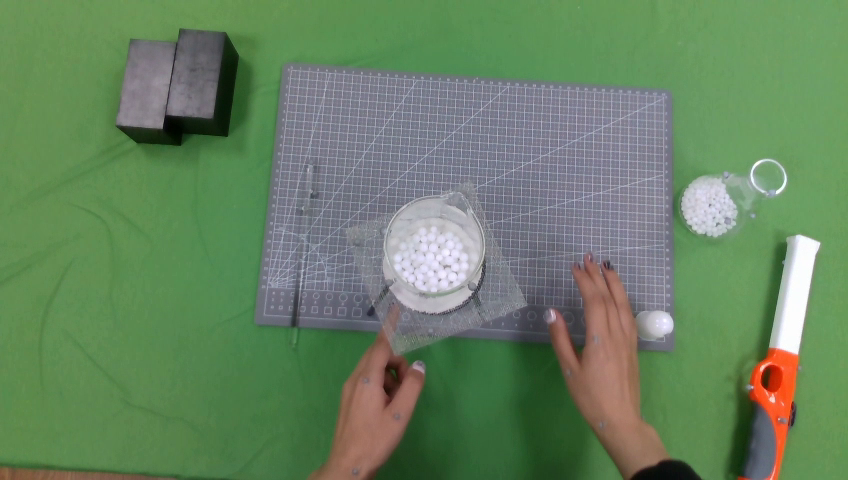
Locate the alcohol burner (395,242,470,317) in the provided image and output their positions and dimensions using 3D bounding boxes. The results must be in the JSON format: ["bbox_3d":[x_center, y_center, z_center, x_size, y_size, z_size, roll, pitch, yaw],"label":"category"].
[{"bbox_3d":[0.008,0.036,0.603,0.078,0.119,0.077,0,78,1],"label":"alcohol burner"}]

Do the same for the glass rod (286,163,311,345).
[{"bbox_3d":[-0.135,0.013,0.656,0.008,0.008,0.199,5,82,-1],"label":"glass rod"}]

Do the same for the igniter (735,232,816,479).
[{"bbox_3d":[0.376,0.124,0.644,0.057,0.025,0.275,19,79,-8],"label":"igniter"}]

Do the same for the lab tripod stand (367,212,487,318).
[{"bbox_3d":[0.005,0.034,0.593,0.148,0.132,0.148,0,81,-1],"label":"lab tripod stand"}]

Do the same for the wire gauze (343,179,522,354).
[{"bbox_3d":[0.008,0.022,0.529,0.125,0.011,0.121,-21,83,-7],"label":"wire gauze"}]

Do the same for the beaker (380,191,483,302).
[{"bbox_3d":[0.006,0.009,0.482,0.074,0.100,0.084,25,80,3],"label":"beaker"}]

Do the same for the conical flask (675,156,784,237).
[{"bbox_3d":[0.319,-0.051,0.626,0.075,0.122,0.075,0,79,-1],"label":"conical flask"}]

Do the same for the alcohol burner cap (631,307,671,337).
[{"bbox_3d":[0.241,0.085,0.637,0.034,0.048,0.033,0,79,-1],"label":"alcohol burner cap"}]
